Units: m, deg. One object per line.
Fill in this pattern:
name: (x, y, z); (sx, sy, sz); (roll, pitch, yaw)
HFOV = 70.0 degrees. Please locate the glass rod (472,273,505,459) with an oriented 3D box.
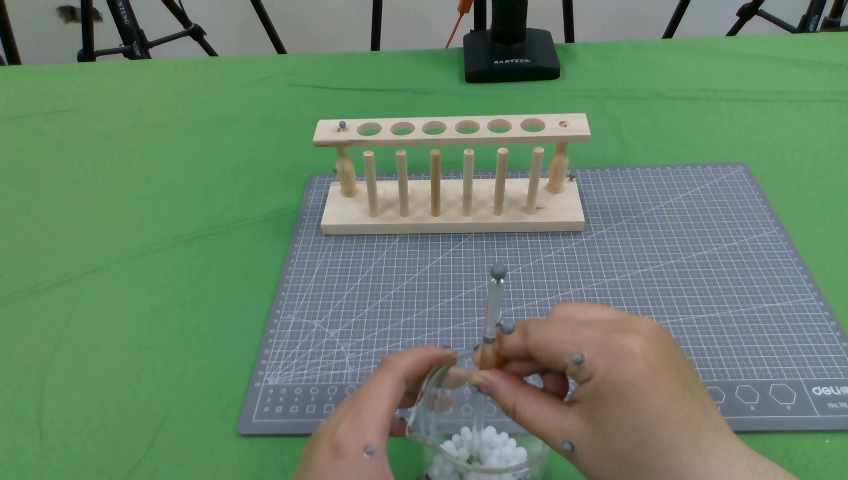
glass rod: (0.032, 0.077, 0.314); (0.008, 0.201, 0.008); (-1, 51, 1)

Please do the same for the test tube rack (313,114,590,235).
test tube rack: (0.025, -0.059, 0.556); (0.242, 0.086, 0.066); (-1, 44, 4)

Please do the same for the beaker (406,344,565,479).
beaker: (0.032, 0.121, 0.347); (0.084, 0.101, 0.073); (-12, 45, -12)
